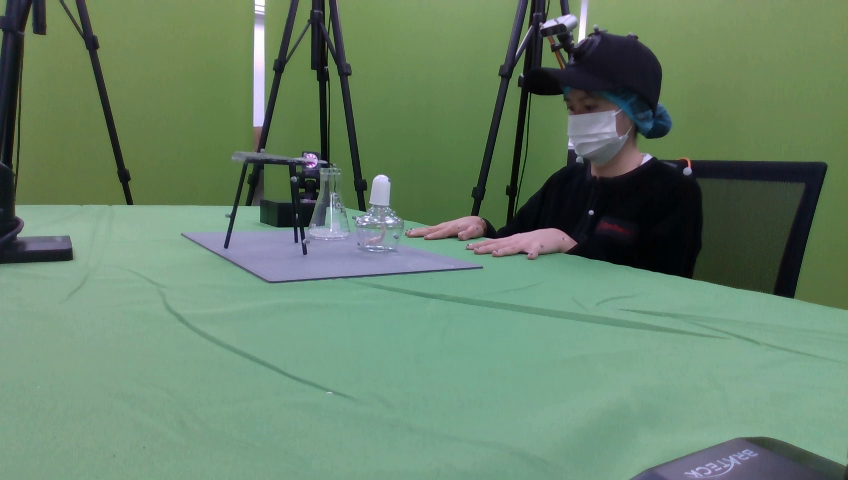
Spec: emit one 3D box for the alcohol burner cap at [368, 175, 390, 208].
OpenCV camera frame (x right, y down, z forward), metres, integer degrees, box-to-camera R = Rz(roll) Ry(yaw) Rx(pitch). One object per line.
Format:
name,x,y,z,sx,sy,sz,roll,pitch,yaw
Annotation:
alcohol burner cap,-0.067,-0.075,0.923,0.034,0.048,0.034,8,11,-1

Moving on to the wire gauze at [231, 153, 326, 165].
wire gauze,-0.215,-0.118,0.882,0.125,0.011,0.121,1,7,-19

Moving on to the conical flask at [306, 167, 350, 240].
conical flask,-0.164,-0.063,1.042,0.075,0.122,0.075,3,7,0

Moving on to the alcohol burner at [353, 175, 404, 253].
alcohol burner,-0.069,-0.040,0.927,0.078,0.119,0.078,1,9,0

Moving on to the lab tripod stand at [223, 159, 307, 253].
lab tripod stand,-0.220,-0.053,0.896,0.148,0.131,0.148,1,6,0
